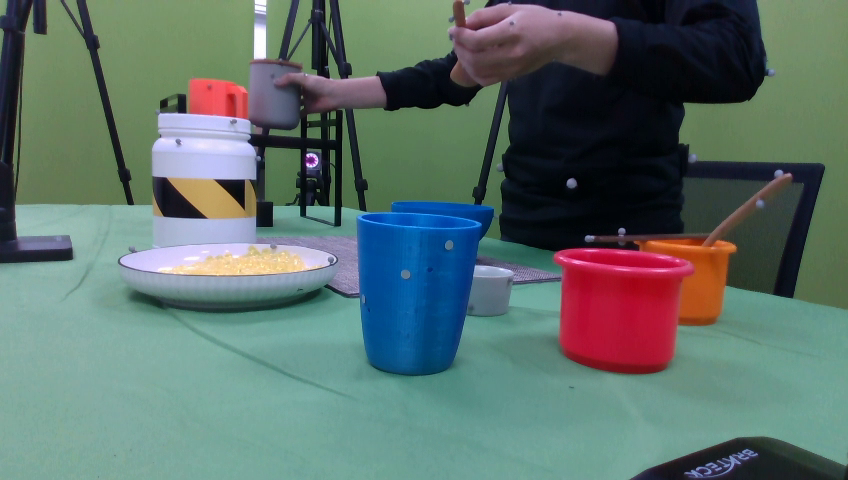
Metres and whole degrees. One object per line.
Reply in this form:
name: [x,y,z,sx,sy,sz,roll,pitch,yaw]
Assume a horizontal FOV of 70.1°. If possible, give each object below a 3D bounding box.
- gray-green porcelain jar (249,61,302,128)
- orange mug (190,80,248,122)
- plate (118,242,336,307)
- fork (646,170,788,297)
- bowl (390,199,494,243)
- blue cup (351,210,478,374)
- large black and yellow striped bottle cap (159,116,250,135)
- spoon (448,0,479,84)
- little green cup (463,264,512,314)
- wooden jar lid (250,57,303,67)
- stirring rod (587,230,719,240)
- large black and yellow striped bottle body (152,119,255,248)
gray-green porcelain jar: [-0.309,-0.300,1.262,0.106,0.126,0.106,4,8,0]
orange mug: [-0.394,-0.257,1.173,0.126,0.100,0.084,1,6,25]
plate: [-0.194,0.033,0.615,0.209,0.038,0.209,2,7,0]
fork: [0.256,0.004,0.543,0.028,0.018,0.207,3,-36,-9]
bowl: [0.024,-0.015,0.871,0.151,0.077,0.151,3,7,0]
blue cup: [-0.009,0.034,0.413,0.093,0.100,0.092,3,8,0]
large black and yellow striped bottle cap: [-0.292,-0.153,0.810,0.115,0.019,0.115,3,9,0]
spoon: [0.044,-0.236,0.731,0.041,0.021,0.194,11,-13,10]
little green cup: [0.053,0.047,0.579,0.061,0.038,0.061,3,8,0]
wooden jar lid: [-0.305,-0.361,1.253,0.108,0.020,0.108,3,8,0]
stirring rod: [0.226,-0.006,0.587,0.177,0.006,0.014,-2,9,-29]
large black and yellow striped bottle body: [-0.296,-0.070,0.819,0.131,0.184,0.130,2,7,0]
